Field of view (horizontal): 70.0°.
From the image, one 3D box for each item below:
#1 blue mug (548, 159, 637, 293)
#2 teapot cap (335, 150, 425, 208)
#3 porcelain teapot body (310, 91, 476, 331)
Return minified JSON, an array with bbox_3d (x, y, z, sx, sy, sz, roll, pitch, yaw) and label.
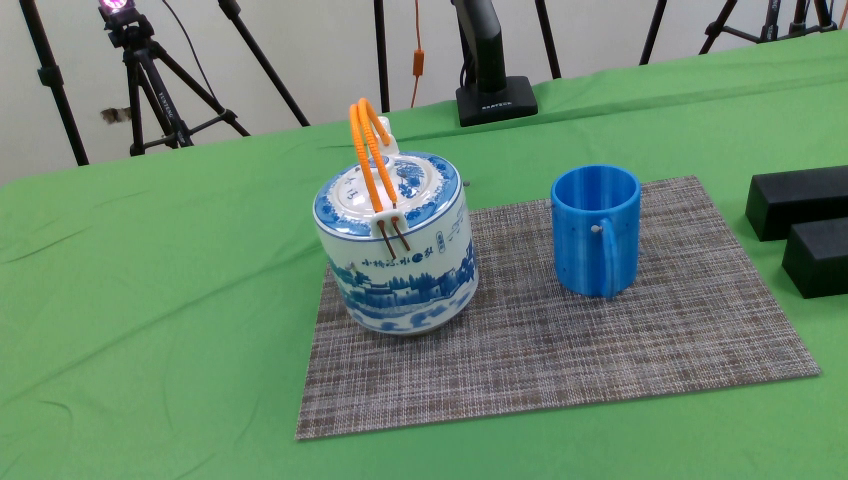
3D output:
[{"bbox_3d":[0.168,-0.004,0.590,0.082,0.107,0.115,-9,39,6],"label":"blue mug"},{"bbox_3d":[-0.041,-0.059,0.557,0.085,0.044,0.084,-5,38,4],"label":"teapot cap"},{"bbox_3d":[-0.037,-0.046,0.603,0.145,0.227,0.203,-13,39,0],"label":"porcelain teapot body"}]
